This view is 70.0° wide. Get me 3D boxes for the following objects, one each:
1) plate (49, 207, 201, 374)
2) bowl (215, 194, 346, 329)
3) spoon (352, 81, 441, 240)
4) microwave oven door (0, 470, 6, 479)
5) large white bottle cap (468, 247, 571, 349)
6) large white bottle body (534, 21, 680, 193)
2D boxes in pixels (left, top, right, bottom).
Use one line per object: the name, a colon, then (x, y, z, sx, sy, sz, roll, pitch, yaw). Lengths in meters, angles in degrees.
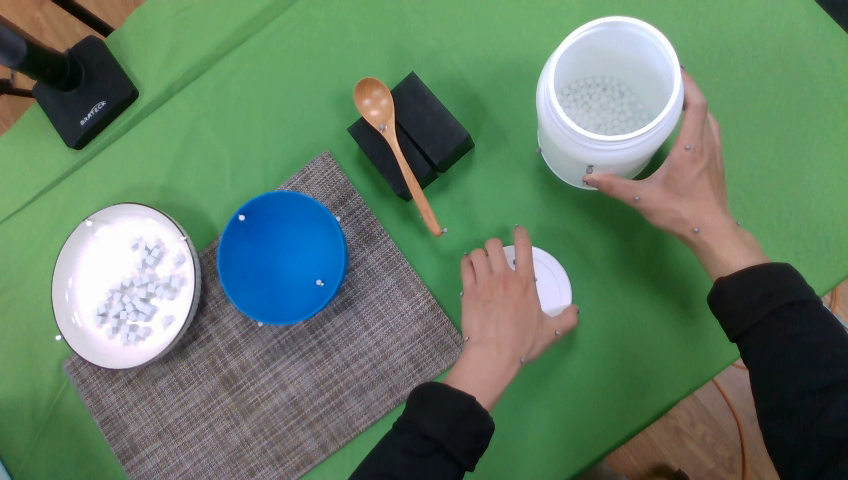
plate: (-0.370, 0.063, 0.763, 0.208, 0.038, 0.208, -2, 83, 12)
bowl: (-0.153, 0.026, 0.702, 0.151, 0.077, 0.151, -1, 86, 11)
spoon: (-0.029, -0.087, 0.674, 0.041, 0.021, 0.193, -25, 86, 3)
microwave oven door: (-0.486, 0.411, 0.639, 0.039, 0.245, 0.354, -40, 79, 5)
large white bottle cap: (0.107, 0.065, 0.679, 0.114, 0.018, 0.114, 0, 89, 14)
large white bottle body: (0.175, -0.125, 0.600, 0.130, 0.185, 0.130, -1, 85, 11)
